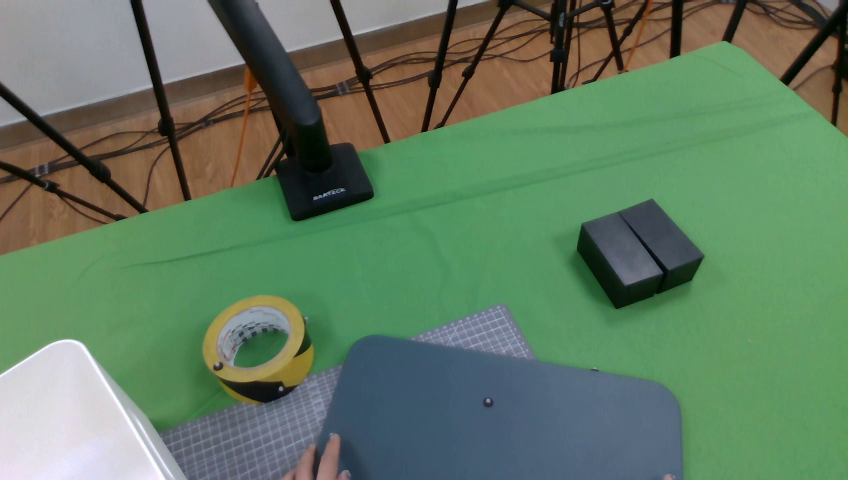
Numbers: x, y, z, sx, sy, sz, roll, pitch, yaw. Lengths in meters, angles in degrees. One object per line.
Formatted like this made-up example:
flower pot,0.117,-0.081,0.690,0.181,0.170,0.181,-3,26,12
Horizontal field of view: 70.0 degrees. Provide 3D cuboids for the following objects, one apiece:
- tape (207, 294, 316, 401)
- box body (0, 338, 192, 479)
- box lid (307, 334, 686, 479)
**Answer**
tape,-0.183,0.121,0.686,0.117,0.053,0.115,-2,50,3
box body,-0.364,0.297,0.489,0.364,0.162,0.251,-36,59,-22
box lid,0.073,0.235,0.608,0.371,0.015,0.261,8,54,9
